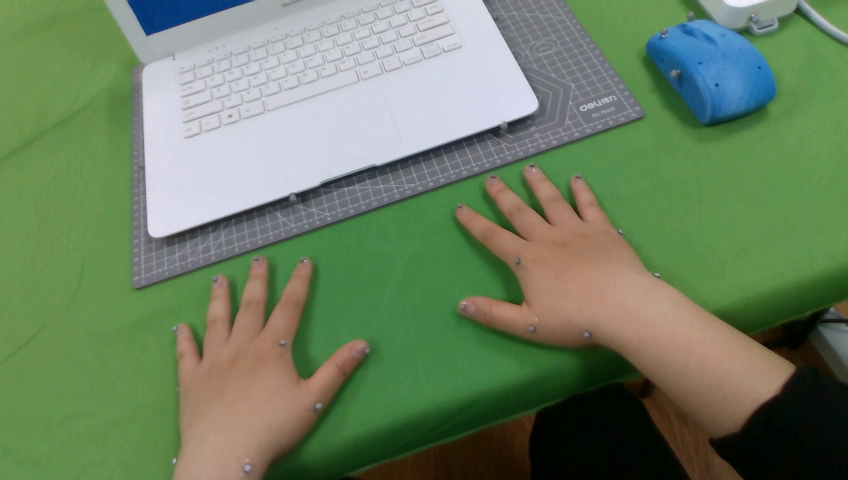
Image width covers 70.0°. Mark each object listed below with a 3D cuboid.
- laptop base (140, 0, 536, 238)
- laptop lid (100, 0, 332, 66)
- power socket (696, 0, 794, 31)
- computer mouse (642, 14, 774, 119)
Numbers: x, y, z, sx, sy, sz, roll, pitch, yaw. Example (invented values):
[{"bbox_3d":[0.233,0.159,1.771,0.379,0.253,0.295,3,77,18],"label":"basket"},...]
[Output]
[{"bbox_3d":[-0.098,-0.145,0.582,0.354,0.023,0.233,-19,59,-1],"label":"laptop base"},{"bbox_3d":[-0.159,-0.319,0.565,0.357,0.244,0.013,-20,43,0],"label":"laptop lid"},{"bbox_3d":[0.275,-0.286,0.588,0.072,0.033,0.224,-16,56,1],"label":"power socket"},{"bbox_3d":[0.235,-0.153,0.508,0.063,0.041,0.116,-20,51,2],"label":"computer mouse"}]
